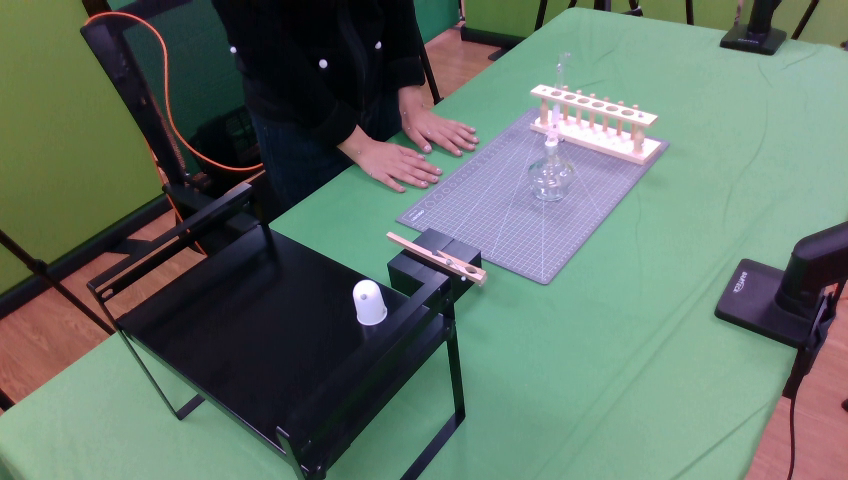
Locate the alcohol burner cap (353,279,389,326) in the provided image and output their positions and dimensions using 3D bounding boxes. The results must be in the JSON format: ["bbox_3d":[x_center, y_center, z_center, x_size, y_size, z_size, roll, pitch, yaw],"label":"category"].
[{"bbox_3d":[-0.055,0.061,0.616,0.034,0.048,0.033,-5,41,5],"label":"alcohol burner cap"}]

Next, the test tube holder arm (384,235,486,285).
[{"bbox_3d":[0.012,0.027,0.871,0.177,0.015,0.013,21,53,30],"label":"test tube holder arm"}]

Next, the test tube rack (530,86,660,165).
[{"bbox_3d":[0.320,-0.226,1.140,0.240,0.085,0.067,27,51,34],"label":"test tube rack"}]

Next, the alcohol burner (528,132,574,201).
[{"bbox_3d":[0.214,-0.126,1.016,0.078,0.119,0.077,-5,38,5],"label":"alcohol burner"}]

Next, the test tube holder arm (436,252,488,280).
[{"bbox_3d":[0.052,0.037,0.852,0.087,0.015,0.010,22,53,30],"label":"test tube holder arm"}]

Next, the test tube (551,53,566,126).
[{"bbox_3d":[0.252,-0.280,1.138,0.017,0.151,0.017,-3,44,3],"label":"test tube"}]
